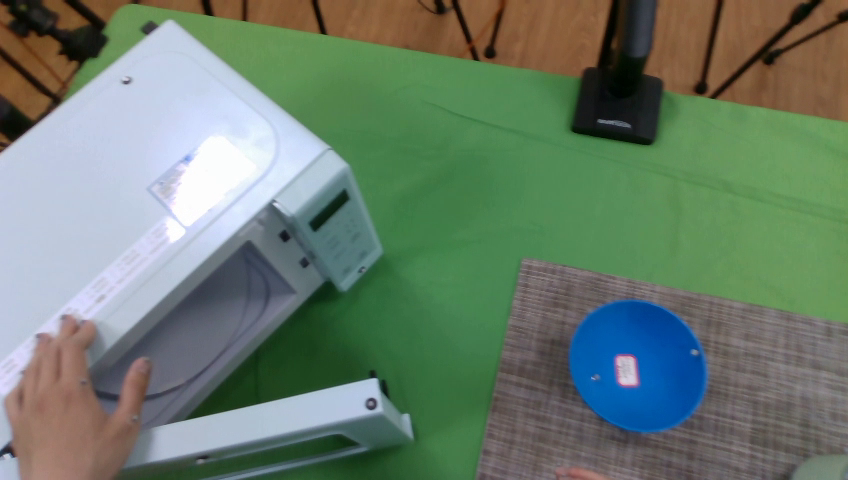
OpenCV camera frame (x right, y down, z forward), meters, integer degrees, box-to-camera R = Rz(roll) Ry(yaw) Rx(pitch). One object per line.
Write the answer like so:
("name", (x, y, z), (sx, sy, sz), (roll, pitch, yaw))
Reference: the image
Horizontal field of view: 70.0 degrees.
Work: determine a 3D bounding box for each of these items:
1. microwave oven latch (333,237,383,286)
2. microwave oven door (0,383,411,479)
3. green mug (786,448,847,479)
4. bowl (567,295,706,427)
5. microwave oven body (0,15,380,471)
("microwave oven latch", (-0.089, 0.023, 0.805), (0.030, 0.030, 0.079), (42, 77, 19))
("microwave oven door", (-0.201, 0.212, 0.623), (0.356, 0.245, 0.039), (-13, 67, -1))
("green mug", (0.447, 0.279, 0.628), (0.092, 0.106, 0.124), (-4, 67, 3))
("bowl", (0.241, 0.148, 0.716), (0.151, 0.077, 0.150), (-2, 67, 5))
("microwave oven body", (-0.326, 0.019, 0.722), (0.324, 0.262, 0.441), (40, 76, 18))
